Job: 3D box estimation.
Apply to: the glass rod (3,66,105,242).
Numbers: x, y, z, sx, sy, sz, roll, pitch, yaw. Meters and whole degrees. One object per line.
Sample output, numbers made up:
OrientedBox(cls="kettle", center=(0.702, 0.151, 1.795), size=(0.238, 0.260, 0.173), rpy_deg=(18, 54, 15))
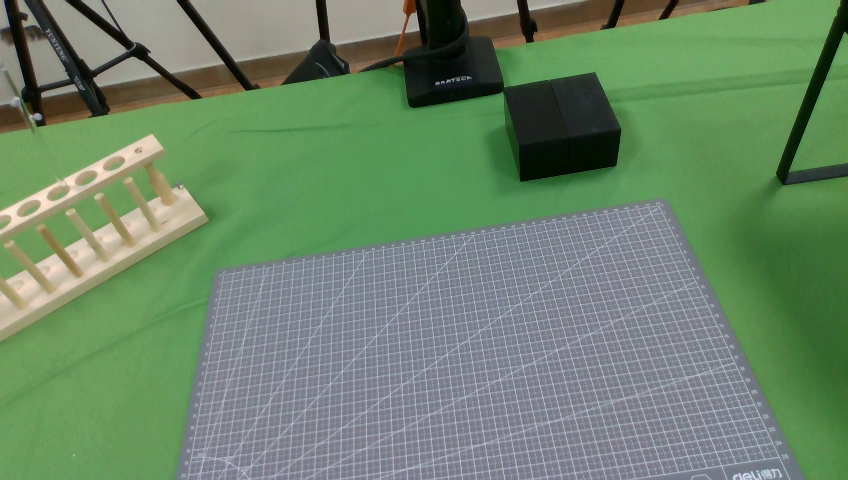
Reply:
OrientedBox(cls="glass rod", center=(-0.350, -0.072, 0.583), size=(0.008, 0.201, 0.008), rpy_deg=(-3, 40, 3))

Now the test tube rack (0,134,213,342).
OrientedBox(cls="test tube rack", center=(-0.351, -0.004, 0.612), size=(0.242, 0.086, 0.066), rpy_deg=(-33, 52, -18))
